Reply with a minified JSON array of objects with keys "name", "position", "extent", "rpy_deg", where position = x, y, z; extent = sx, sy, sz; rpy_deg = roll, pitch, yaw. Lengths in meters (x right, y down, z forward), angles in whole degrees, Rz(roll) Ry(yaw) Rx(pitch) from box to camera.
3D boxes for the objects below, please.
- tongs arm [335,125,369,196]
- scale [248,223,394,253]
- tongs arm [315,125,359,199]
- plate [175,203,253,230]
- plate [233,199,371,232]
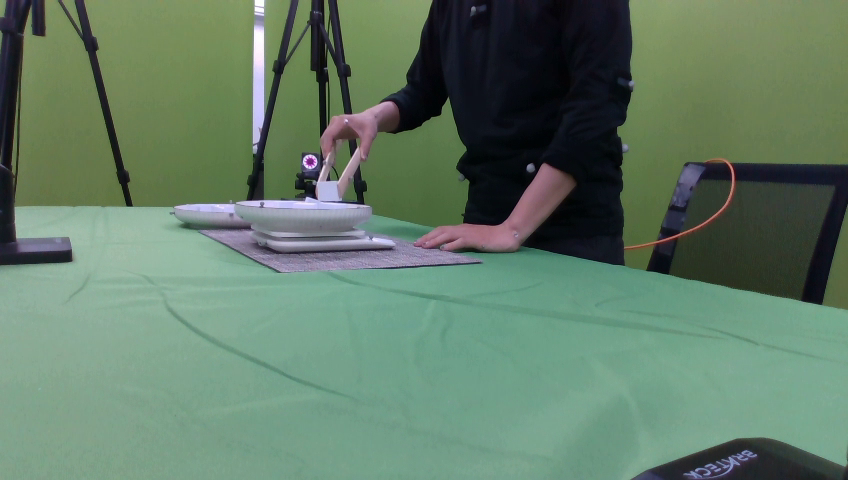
[{"name":"tongs arm","position":[-0.134,-0.160,1.139],"extent":[0.028,0.028,0.387],"rpy_deg":[-10,24,6]},{"name":"scale","position":[-0.162,-0.006,0.954],"extent":[0.202,0.031,0.148],"rpy_deg":[-1,8,-32]},{"name":"tongs arm","position":[-0.158,-0.157,1.140],"extent":[0.051,0.026,0.384],"rpy_deg":[-9,24,1]},{"name":"plate","position":[-0.381,-0.047,1.199],"extent":[0.208,0.039,0.207],"rpy_deg":[3,7,0]},{"name":"plate","position":[-0.188,-0.039,0.939],"extent":[0.209,0.038,0.209],"rpy_deg":[2,7,0]}]
